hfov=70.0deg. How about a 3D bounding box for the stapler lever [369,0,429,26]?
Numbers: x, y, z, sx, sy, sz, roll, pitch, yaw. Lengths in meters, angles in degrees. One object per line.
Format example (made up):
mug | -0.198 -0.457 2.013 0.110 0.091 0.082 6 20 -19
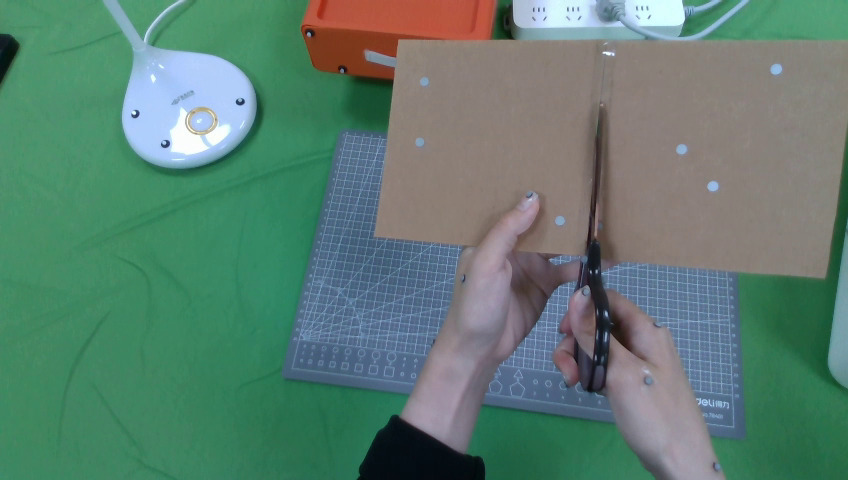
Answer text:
stapler lever | -0.044 -0.279 0.685 0.117 0.040 0.027 36 89 20

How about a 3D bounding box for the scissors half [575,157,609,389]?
scissors half | 0.101 0.000 0.362 0.013 0.040 0.174 4 75 1

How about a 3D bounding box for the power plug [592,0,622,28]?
power plug | 0.218 -0.270 0.727 0.035 0.053 0.072 11 68 7

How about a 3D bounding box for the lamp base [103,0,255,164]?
lamp base | -0.298 -0.200 0.665 0.178 0.182 0.160 38 73 20

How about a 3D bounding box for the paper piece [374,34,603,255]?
paper piece | 0.039 -0.064 0.386 0.135 0.009 0.138 6 88 15

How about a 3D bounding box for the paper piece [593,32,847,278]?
paper piece | 0.167 -0.052 0.355 0.135 0.004 0.136 7 96 16

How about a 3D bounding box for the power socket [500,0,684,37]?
power socket | 0.210 -0.287 0.760 0.227 0.033 0.071 1 67 3

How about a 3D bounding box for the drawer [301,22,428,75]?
drawer | -0.017 -0.291 0.697 0.194 0.074 0.210 7 67 7

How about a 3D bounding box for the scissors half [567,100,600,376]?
scissors half | 0.103 0.001 0.384 0.013 0.040 0.175 4 100 6

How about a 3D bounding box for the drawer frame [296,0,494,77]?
drawer frame | -0.019 -0.293 0.698 0.201 0.083 0.212 7 66 6

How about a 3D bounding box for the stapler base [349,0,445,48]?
stapler base | -0.035 -0.273 0.710 0.129 0.024 0.041 36 89 19

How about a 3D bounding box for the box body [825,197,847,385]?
box body | 0.548 -0.007 0.552 0.253 0.161 0.362 19 69 11
